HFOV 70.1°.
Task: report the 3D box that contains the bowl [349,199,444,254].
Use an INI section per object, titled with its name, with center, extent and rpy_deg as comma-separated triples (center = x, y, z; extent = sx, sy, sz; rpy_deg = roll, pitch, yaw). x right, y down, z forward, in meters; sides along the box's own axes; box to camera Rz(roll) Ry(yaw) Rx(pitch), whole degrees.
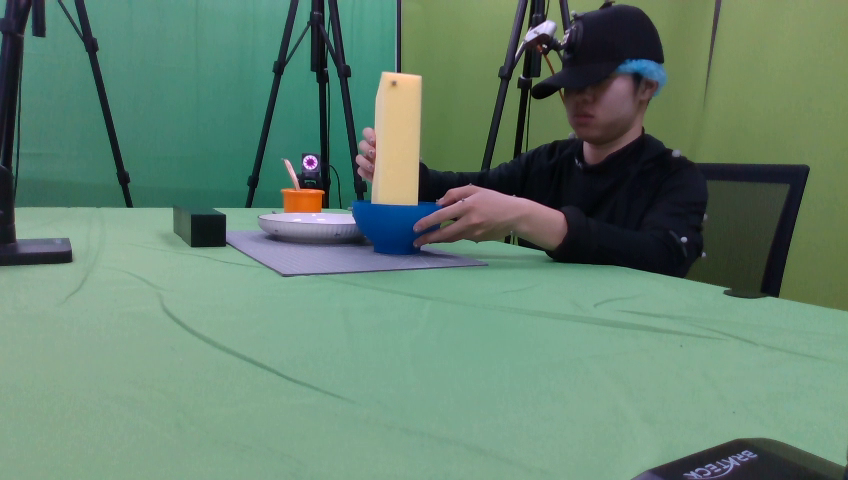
[bowl]
center = -0.044, -0.021, 0.946
extent = 0.151, 0.077, 0.151
rpy_deg = 2, 6, 0

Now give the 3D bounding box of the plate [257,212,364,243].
[plate]
center = -0.189, -0.023, 1.072
extent = 0.209, 0.038, 0.209
rpy_deg = 3, 7, 0

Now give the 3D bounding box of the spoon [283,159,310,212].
[spoon]
center = -0.279, -0.111, 1.324
extent = 0.042, 0.193, 0.021
rpy_deg = 3, -39, -35

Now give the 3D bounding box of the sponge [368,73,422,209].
[sponge]
center = -0.048, -0.138, 0.945
extent = 0.061, 0.206, 0.118
rpy_deg = 4, -5, -11
